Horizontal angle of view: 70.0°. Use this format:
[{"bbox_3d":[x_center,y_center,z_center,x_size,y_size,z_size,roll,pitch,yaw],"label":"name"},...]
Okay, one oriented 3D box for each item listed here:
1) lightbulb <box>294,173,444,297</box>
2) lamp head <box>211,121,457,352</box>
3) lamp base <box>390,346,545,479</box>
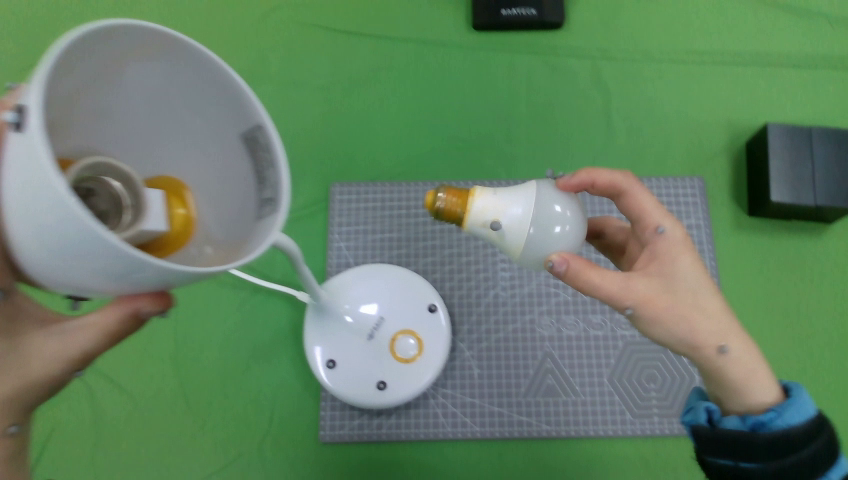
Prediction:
[{"bbox_3d":[-0.035,0.000,0.309,0.107,0.060,0.059,-8,54,49],"label":"lightbulb"},{"bbox_3d":[-0.057,0.013,0.329,0.113,0.123,0.111,21,55,-32],"label":"lamp head"},{"bbox_3d":[0.039,0.163,0.615,0.179,0.182,0.159,9,66,10],"label":"lamp base"}]
